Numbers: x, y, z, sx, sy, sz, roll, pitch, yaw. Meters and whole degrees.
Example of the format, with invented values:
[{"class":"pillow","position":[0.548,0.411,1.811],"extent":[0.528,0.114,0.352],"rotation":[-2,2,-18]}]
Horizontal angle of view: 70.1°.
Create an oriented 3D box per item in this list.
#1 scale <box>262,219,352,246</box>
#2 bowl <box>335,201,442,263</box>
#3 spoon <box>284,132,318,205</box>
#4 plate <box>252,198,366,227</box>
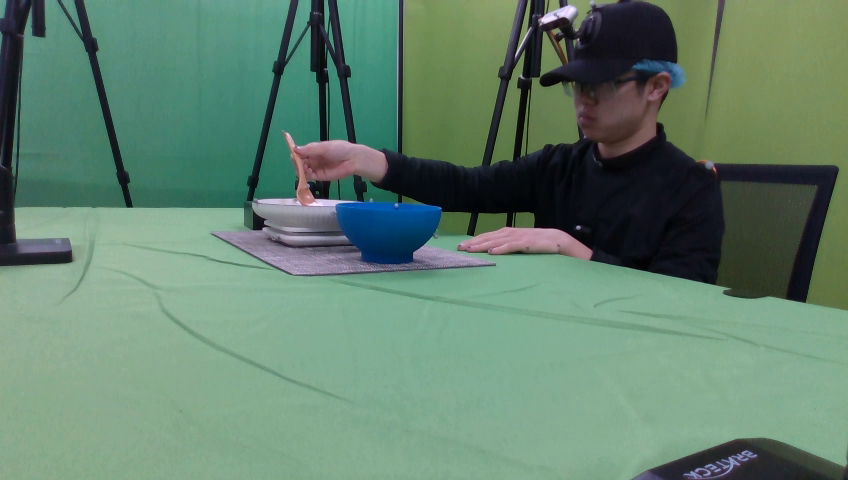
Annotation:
[{"class":"scale","position":[-0.160,-0.015,1.028],"extent":[0.202,0.031,0.148],"rotation":[-2,8,-32]},{"class":"bowl","position":[-0.051,-0.012,0.849],"extent":[0.151,0.077,0.151],"rotation":[2,7,0]},{"class":"spoon","position":[-0.220,-0.125,1.069],"extent":[0.042,0.193,0.021],"rotation":[15,-46,-44]},{"class":"plate","position":[-0.178,-0.047,1.012],"extent":[0.209,0.038,0.209],"rotation":[2,6,0]}]
